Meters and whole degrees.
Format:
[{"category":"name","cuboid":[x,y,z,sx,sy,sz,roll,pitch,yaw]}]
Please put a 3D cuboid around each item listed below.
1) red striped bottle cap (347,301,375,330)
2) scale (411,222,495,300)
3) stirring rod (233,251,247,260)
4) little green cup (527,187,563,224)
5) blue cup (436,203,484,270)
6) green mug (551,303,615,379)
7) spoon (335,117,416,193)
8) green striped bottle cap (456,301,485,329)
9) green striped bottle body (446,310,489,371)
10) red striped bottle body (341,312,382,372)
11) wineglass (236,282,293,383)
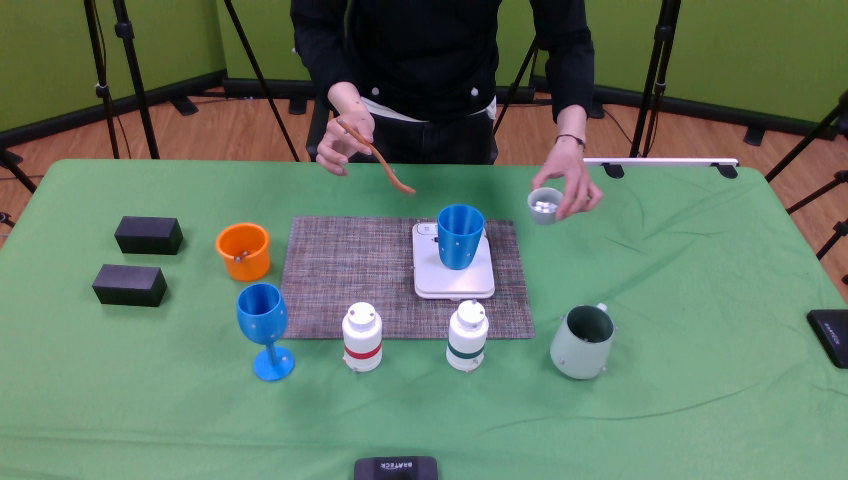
[{"category":"red striped bottle cap","cuboid":[-0.097,0.116,0.934,0.044,0.018,0.044,2,49,-2]},{"category":"scale","cuboid":[0.052,0.031,1.158,0.149,0.032,0.199,1,46,-4]},{"category":"stirring rod","cuboid":[-0.323,0.026,1.067,0.014,0.006,0.176,-8,4,-13]},{"category":"little green cup","cuboid":[0.210,-0.059,1.052,0.061,0.039,0.061,-5,50,6]},{"category":"blue cup","cuboid":[0.062,-0.001,1.099,0.093,0.101,0.092,2,44,-2]},{"category":"green mug","cuboid":[0.271,0.157,1.007,0.092,0.105,0.125,27,50,21]},{"category":"spoon","cuboid":[-0.077,-0.136,0.987,0.021,0.195,0.041,-44,35,-1]},{"category":"green striped bottle cap","cuboid":[0.073,0.116,0.943,0.044,0.020,0.044,3,46,-3]},{"category":"green striped bottle body","cuboid":[0.070,0.155,0.984,0.063,0.120,0.063,2,46,-2]},{"category":"red striped bottle body","cuboid":[-0.100,0.154,0.972,0.063,0.120,0.062,2,46,-1]},{"category":"wineglass","cuboid":[-0.243,0.143,0.934,0.074,0.173,0.073,2,46,-2]}]
